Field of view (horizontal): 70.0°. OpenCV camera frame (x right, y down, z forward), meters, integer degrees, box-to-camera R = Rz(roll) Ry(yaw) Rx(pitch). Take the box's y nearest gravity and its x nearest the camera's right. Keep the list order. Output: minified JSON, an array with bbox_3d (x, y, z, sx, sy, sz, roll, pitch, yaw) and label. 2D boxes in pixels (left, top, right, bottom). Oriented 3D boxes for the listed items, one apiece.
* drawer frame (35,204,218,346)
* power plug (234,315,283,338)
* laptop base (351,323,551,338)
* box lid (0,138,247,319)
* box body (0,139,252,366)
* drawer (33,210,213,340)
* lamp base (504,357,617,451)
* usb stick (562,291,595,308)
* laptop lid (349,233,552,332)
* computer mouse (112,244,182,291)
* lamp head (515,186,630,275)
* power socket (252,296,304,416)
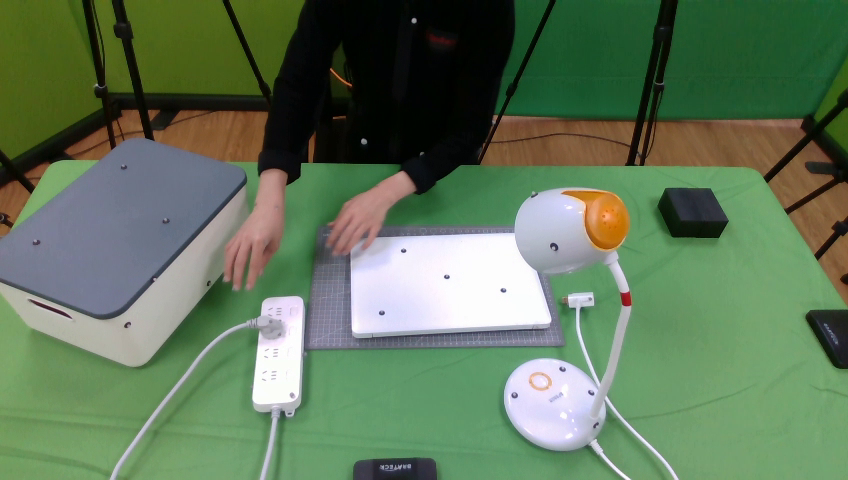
[{"bbox_3d":[-0.505,0.054,1.052,0.201,0.083,0.212,14,52,12],"label":"drawer frame"},{"bbox_3d":[-0.270,0.143,1.000,0.072,0.053,0.035,5,47,2],"label":"power plug"},{"bbox_3d":[0.040,0.080,1.125,0.355,0.023,0.234,-2,43,-6],"label":"laptop base"},{"bbox_3d":[-0.494,-0.037,0.994,0.263,0.015,0.370,17,46,12],"label":"box lid"},{"bbox_3d":[-0.496,0.013,1.048,0.254,0.161,0.362,17,47,12],"label":"box body"},{"bbox_3d":[-0.509,0.054,1.046,0.194,0.073,0.211,15,43,11],"label":"drawer"},{"bbox_3d":[0.220,0.211,0.903,0.160,0.181,0.178,-32,59,-30],"label":"lamp base"},{"bbox_3d":[0.280,0.109,1.104,0.059,0.021,0.027,-6,13,23],"label":"usb stick"},{"bbox_3d":[0.040,0.070,1.119,0.357,0.013,0.240,-1,44,-5],"label":"laptop lid"},{"bbox_3d":[-0.493,0.046,1.078,0.117,0.041,0.062,24,41,13],"label":"computer mouse"},{"bbox_3d":[0.188,-0.013,0.728,0.112,0.112,0.122,-25,9,-25],"label":"lamp head"},{"bbox_3d":[-0.238,0.181,0.997,0.072,0.033,0.225,-3,47,-5],"label":"power socket"}]
